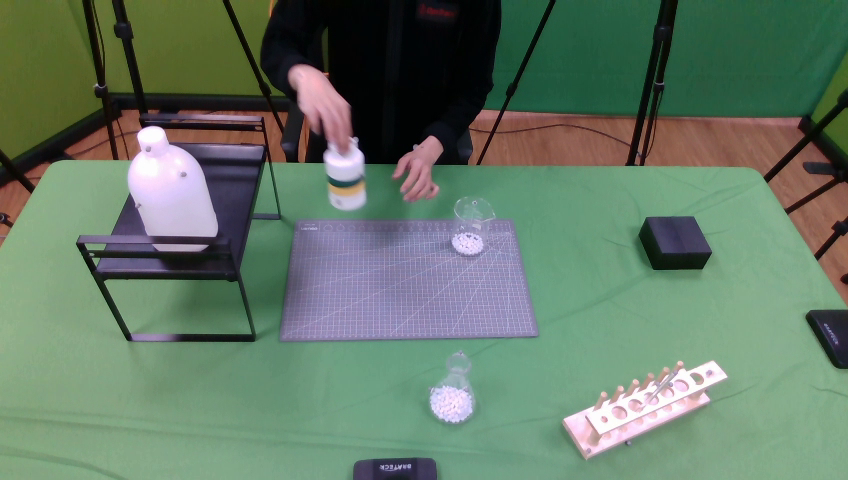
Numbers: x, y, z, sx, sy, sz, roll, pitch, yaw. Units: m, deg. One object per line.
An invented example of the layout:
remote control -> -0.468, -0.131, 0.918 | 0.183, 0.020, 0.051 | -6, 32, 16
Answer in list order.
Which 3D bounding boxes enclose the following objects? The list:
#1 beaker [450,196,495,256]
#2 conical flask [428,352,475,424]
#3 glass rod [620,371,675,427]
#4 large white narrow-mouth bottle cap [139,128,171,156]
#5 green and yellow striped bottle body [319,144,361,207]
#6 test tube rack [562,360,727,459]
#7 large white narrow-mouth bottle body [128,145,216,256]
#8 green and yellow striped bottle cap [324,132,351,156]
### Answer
beaker -> 0.092, -0.024, 1.170 | 0.084, 0.101, 0.073 | 15, 47, 10
conical flask -> 0.046, 0.220, 0.920 | 0.075, 0.122, 0.075 | 2, 46, -2
glass rod -> 0.316, 0.230, 0.863 | 0.008, 0.200, 0.008 | 3, 54, -3
large white narrow-mouth bottle cap -> -0.359, -0.131, 0.808 | 0.038, 0.024, 0.037 | 3, 47, -3
green and yellow striped bottle body -> -0.141, -0.120, 1.025 | 0.063, 0.120, 0.063 | 0, 42, 0
test tube rack -> 0.341, 0.247, 0.940 | 0.243, 0.085, 0.066 | -16, 49, -18
large white narrow-mouth bottle body -> -0.366, -0.073, 0.872 | 0.102, 0.195, 0.101 | 3, 47, -3
green and yellow striped bottle cap -> -0.142, -0.157, 0.989 | 0.045, 0.020, 0.045 | 0, 41, 0
